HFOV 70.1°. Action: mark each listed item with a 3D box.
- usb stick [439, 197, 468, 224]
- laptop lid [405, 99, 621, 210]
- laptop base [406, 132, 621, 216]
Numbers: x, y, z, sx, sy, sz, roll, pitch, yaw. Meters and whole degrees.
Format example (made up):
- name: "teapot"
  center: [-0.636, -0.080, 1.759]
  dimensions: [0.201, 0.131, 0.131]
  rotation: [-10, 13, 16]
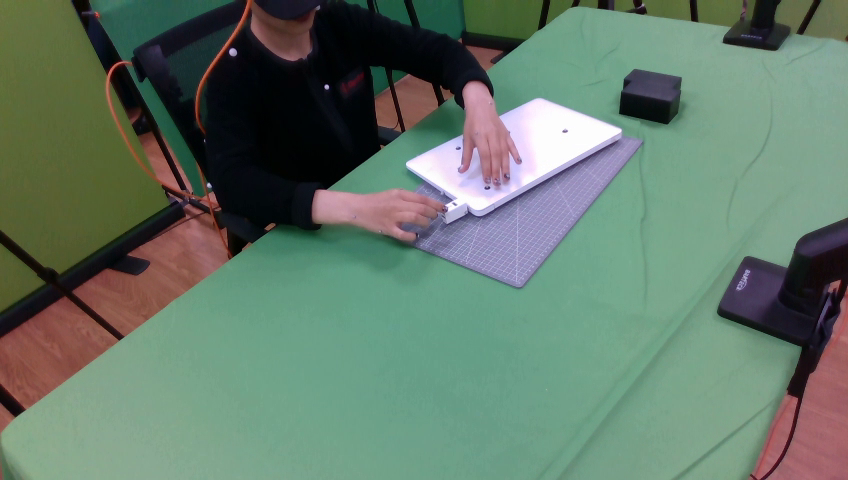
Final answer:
- name: "usb stick"
  center: [0.056, -0.053, 1.017]
  dimensions: [0.059, 0.027, 0.021]
  rotation: [-26, 41, -22]
- name: "laptop lid"
  center: [0.166, -0.177, 1.146]
  dimensions: [0.358, 0.013, 0.239]
  rotation: [-28, 40, -21]
- name: "laptop base"
  center: [0.169, -0.167, 1.152]
  dimensions: [0.356, 0.023, 0.233]
  rotation: [-29, 40, -22]
